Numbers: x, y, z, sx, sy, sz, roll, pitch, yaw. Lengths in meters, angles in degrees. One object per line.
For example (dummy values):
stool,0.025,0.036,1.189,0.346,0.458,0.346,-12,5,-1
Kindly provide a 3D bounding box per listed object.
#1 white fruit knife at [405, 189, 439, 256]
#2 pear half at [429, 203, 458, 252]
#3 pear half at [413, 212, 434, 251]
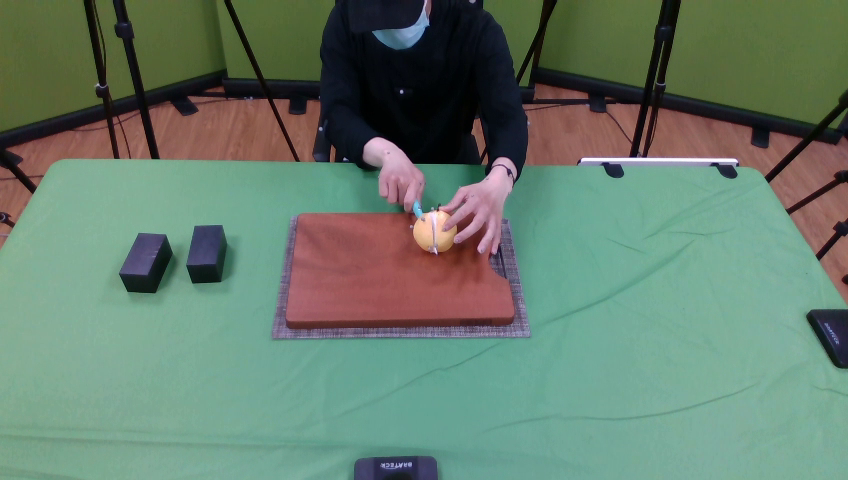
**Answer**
white fruit knife,-0.004,-0.038,1.169,0.016,0.027,0.206,-11,43,-14
pear half,0.036,-0.029,1.125,0.056,0.110,0.076,-12,51,-16
pear half,-0.003,-0.016,1.124,0.031,0.088,0.070,-18,54,-11
